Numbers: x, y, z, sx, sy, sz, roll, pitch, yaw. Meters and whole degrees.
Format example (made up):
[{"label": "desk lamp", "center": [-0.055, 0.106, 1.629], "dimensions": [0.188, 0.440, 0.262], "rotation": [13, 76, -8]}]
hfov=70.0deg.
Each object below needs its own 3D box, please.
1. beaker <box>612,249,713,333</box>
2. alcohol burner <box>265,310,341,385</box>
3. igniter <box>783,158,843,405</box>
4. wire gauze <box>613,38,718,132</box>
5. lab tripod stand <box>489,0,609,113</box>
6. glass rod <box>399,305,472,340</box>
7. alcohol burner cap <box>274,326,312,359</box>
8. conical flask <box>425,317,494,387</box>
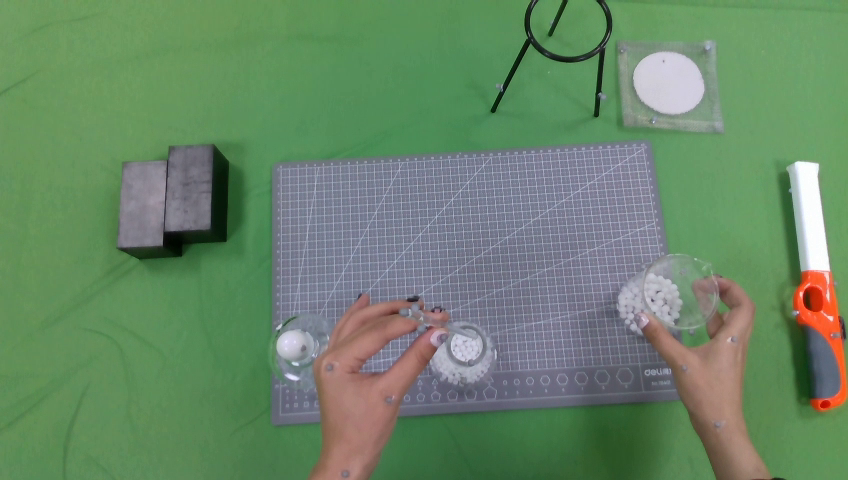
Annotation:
[{"label": "beaker", "center": [0.244, 0.056, 0.629], "dimensions": [0.084, 0.101, 0.073], "rotation": [-39, 79, -9]}, {"label": "alcohol burner", "center": [-0.126, 0.107, 0.613], "dimensions": [0.078, 0.120, 0.077], "rotation": [-1, 75, 3]}, {"label": "igniter", "center": [0.429, 0.041, 0.670], "dimensions": [0.057, 0.025, 0.275], "rotation": [5, 76, -9]}, {"label": "wire gauze", "center": [0.295, -0.193, 0.740], "dimensions": [0.125, 0.011, 0.121], "rotation": [3, 77, -1]}, {"label": "lab tripod stand", "center": [0.143, -0.207, 0.681], "dimensions": [0.148, 0.132, 0.147], "rotation": [0, 78, 1]}, {"label": "glass rod", "center": [0.014, 0.066, 0.467], "dimensions": [0.008, 0.201, 0.008], "rotation": [-4, 75, 16]}, {"label": "alcohol burner cap", "center": [-0.127, 0.097, 0.578], "dimensions": [0.034, 0.048, 0.033], "rotation": [1, 79, -3]}, {"label": "conical flask", "center": [0.037, 0.108, 0.606], "dimensions": [0.075, 0.122, 0.075], "rotation": [0, 75, 1]}]
